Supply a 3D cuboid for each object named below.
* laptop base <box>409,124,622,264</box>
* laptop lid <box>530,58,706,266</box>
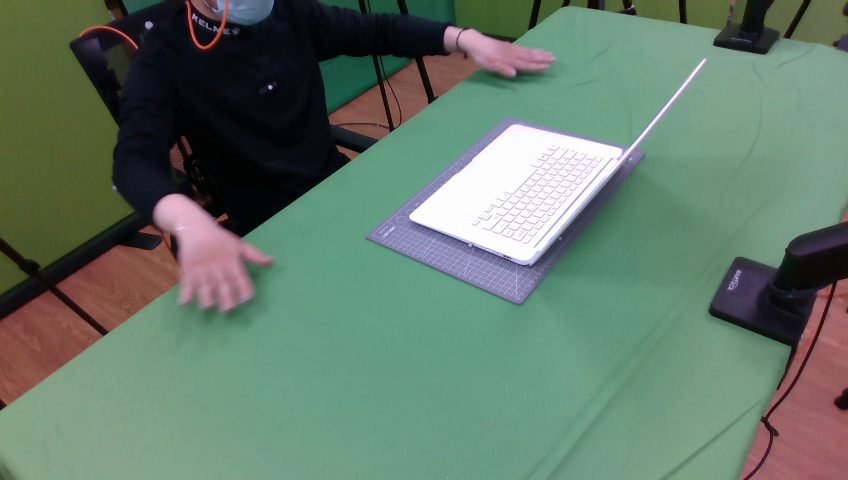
[{"bbox_3d":[0.168,-0.095,1.057,0.233,0.023,0.355,20,47,33],"label":"laptop base"},{"bbox_3d":[0.293,-0.118,0.905,0.013,0.241,0.357,40,53,9],"label":"laptop lid"}]
